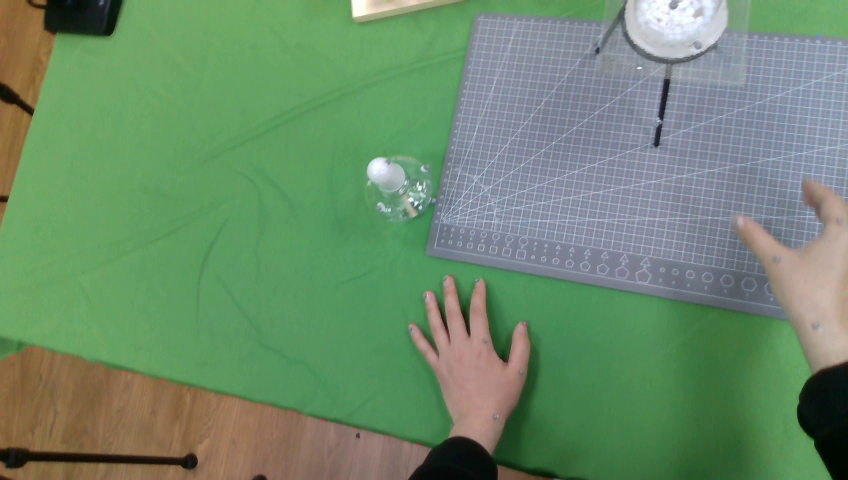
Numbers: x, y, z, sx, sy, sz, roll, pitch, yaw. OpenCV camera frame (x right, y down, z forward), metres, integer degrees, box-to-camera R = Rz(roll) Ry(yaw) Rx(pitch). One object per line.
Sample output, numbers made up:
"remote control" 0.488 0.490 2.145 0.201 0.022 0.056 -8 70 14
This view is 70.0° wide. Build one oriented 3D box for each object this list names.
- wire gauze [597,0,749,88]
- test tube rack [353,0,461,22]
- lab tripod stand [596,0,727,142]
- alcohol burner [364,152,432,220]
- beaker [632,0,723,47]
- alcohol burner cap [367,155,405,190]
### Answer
"wire gauze" 0.224 -0.200 0.537 0.125 0.011 0.121 10 86 12
"test tube rack" 0.020 -0.330 0.706 0.242 0.086 0.066 -7 78 12
"lab tripod stand" 0.239 -0.188 0.600 0.148 0.132 0.148 -2 81 12
"alcohol burner" -0.033 -0.064 0.656 0.078 0.120 0.077 -3 77 12
"beaker" 0.207 -0.211 0.492 0.083 0.101 0.074 23 86 17
"alcohol burner cap" -0.042 -0.071 0.622 0.034 0.048 0.034 -2 83 13
